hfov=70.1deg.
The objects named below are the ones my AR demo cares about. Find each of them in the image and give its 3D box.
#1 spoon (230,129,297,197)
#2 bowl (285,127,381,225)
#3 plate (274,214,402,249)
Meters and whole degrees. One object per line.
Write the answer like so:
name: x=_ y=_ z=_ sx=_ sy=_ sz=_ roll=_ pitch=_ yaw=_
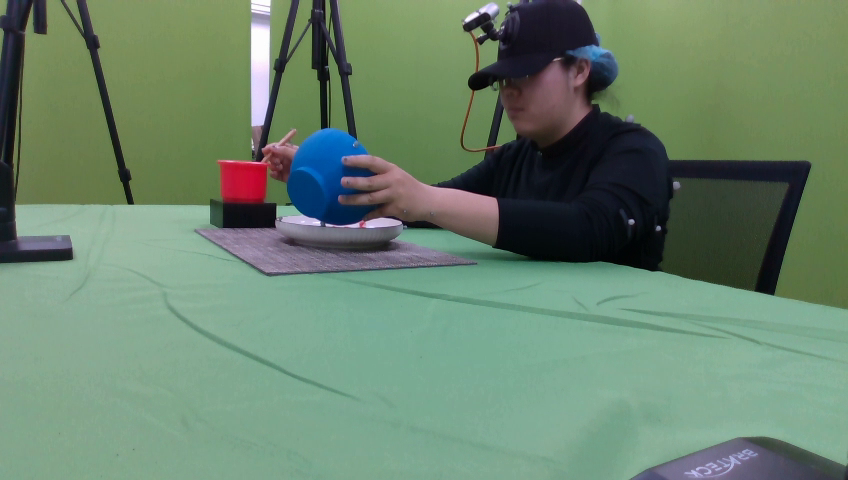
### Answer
spoon: x=-0.308 y=-0.153 z=1.180 sx=0.041 sy=0.194 sz=0.022 roll=16 pitch=-28 yaw=37
bowl: x=-0.146 y=-0.080 z=0.876 sx=0.150 sy=0.151 sz=0.077 roll=7 pitch=29 yaw=34
plate: x=-0.140 y=-0.015 z=0.993 sx=0.208 sy=0.039 sz=0.207 roll=3 pitch=8 yaw=0
